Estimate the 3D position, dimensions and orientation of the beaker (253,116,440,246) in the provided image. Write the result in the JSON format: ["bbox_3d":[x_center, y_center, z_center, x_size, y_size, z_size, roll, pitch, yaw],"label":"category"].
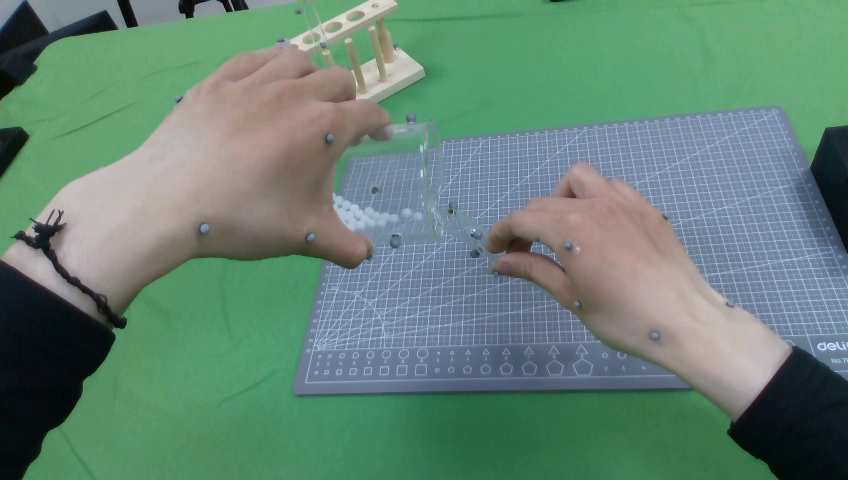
[{"bbox_3d":[-0.043,-0.032,0.366,0.100,0.084,0.073,-2,80,8],"label":"beaker"}]

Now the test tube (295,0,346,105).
[{"bbox_3d":[-0.114,-0.212,0.665,0.017,0.152,0.017,-7,49,9],"label":"test tube"}]

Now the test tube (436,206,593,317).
[{"bbox_3d":[0.067,0.019,0.421,0.017,0.151,0.017,-38,34,32],"label":"test tube"}]

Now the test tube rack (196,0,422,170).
[{"bbox_3d":[-0.127,-0.187,0.707,0.242,0.086,0.066,-32,51,-12],"label":"test tube rack"}]
